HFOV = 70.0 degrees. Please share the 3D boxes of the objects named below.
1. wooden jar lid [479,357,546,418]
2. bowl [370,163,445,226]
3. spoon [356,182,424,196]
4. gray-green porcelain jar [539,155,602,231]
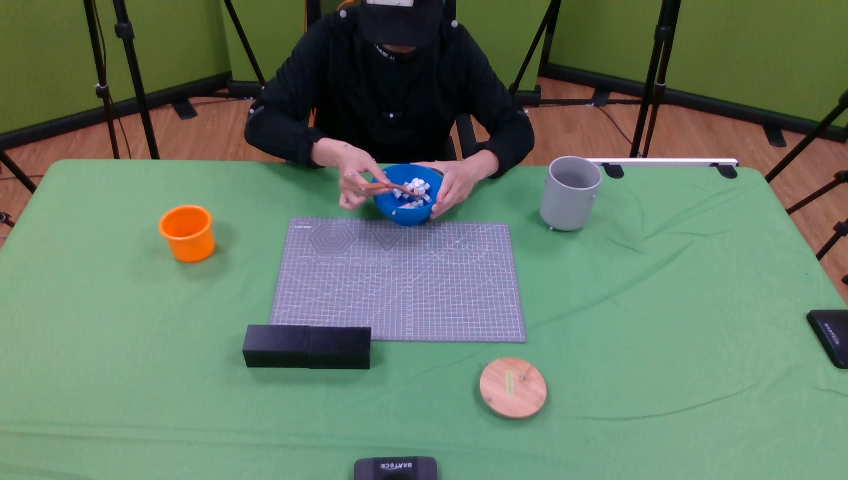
[{"bbox_3d":[0.142,0.240,0.979,0.108,0.021,0.107,1,46,-1],"label":"wooden jar lid"},{"bbox_3d":[-0.035,-0.082,1.232,0.151,0.077,0.150,2,43,-2],"label":"bowl"},{"bbox_3d":[-0.065,-0.103,1.178,0.041,0.021,0.194,46,24,26],"label":"spoon"},{"bbox_3d":[0.294,-0.091,1.235,0.106,0.127,0.105,2,46,-2],"label":"gray-green porcelain jar"}]
